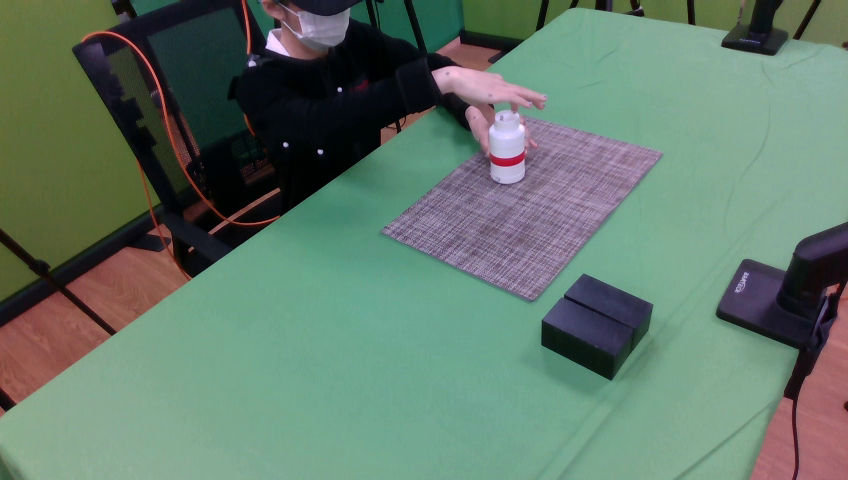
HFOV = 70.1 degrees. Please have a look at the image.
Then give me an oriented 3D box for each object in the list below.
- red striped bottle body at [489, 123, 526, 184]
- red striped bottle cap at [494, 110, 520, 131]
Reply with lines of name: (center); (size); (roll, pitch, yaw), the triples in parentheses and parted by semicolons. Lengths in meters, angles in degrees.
red striped bottle body: (0.147, -0.163, 1.064); (0.063, 0.120, 0.062); (-5, 40, 4)
red striped bottle cap: (0.141, -0.204, 1.030); (0.044, 0.018, 0.044); (-4, 43, 5)
